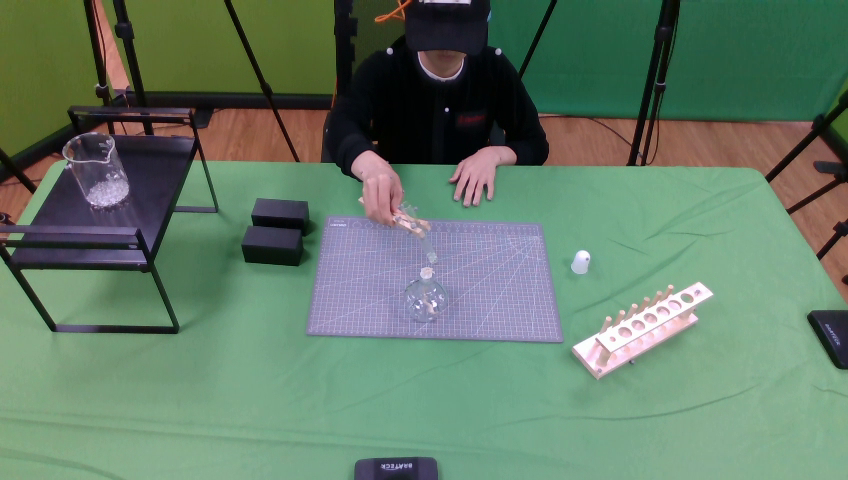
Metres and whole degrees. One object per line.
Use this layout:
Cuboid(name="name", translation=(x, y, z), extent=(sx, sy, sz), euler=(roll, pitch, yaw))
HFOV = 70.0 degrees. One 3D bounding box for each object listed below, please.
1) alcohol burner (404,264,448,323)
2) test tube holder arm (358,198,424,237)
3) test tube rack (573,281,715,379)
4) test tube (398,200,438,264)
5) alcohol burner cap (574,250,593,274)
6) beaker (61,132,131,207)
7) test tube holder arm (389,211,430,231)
Cuboid(name="alcohol burner", translation=(0.003, 0.087, 1.042), extent=(0.078, 0.120, 0.077), euler=(1, 45, 0))
Cuboid(name="test tube holder arm", translation=(-0.057, -0.039, 0.971), extent=(0.013, 0.015, 0.177), euler=(-45, 40, -16))
Cuboid(name="test tube rack", translation=(0.378, 0.140, 1.038), extent=(0.242, 0.085, 0.066), euler=(-22, 51, -23))
Cuboid(name="test tube", translation=(-0.006, -0.009, 0.938), extent=(0.017, 0.151, 0.017), euler=(-12, 50, 15))
Cuboid(name="alcohol burner cap", translation=(0.308, 0.039, 1.163), extent=(0.034, 0.048, 0.033), euler=(1, 46, -1))
Cuboid(name="beaker", translation=(-0.512, -0.107, 0.959), extent=(0.083, 0.101, 0.074), euler=(29, 51, 22))
Cuboid(name="test tube holder arm", translation=(-0.025, -0.030, 0.941), extent=(0.087, 0.015, 0.010), euler=(17, 59, 44))
